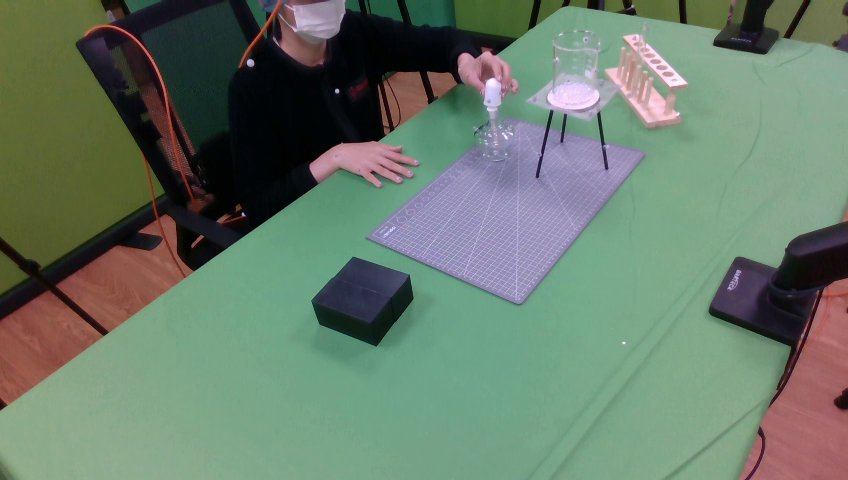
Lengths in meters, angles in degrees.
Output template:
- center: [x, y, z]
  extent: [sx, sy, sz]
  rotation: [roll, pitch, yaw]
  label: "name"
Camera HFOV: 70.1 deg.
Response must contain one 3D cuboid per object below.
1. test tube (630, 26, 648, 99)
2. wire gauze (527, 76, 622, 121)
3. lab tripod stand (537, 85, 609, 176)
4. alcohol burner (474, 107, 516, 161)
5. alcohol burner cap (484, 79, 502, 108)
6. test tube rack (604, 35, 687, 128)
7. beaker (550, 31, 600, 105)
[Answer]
- center: [0.426, -0.350, 1.199]
  extent: [0.017, 0.151, 0.017]
  rotation: [-4, 42, 4]
  label: "test tube"
- center: [0.255, -0.247, 1.030]
  extent: [0.124, 0.011, 0.122]
  rotation: [23, 49, 34]
  label: "wire gauze"
- center: [0.259, -0.192, 1.068]
  extent: [0.148, 0.132, 0.147]
  rotation: [-4, 43, 4]
  label: "lab tripod stand"
- center: [0.131, -0.208, 1.121]
  extent: [0.078, 0.119, 0.077]
  rotation: [-6, 40, 5]
  label: "alcohol burner"
- center: [0.123, -0.261, 1.075]
  extent: [0.034, 0.048, 0.033]
  rotation: [-3, 37, 3]
  label: "alcohol burner cap"
- center: [0.447, -0.330, 1.241]
  extent: [0.067, 0.085, 0.241]
  rotation: [-9, 41, -2]
  label: "test tube rack"
- center: [0.250, -0.281, 0.996]
  extent: [0.074, 0.101, 0.083]
  rotation: [-37, 49, -27]
  label: "beaker"
